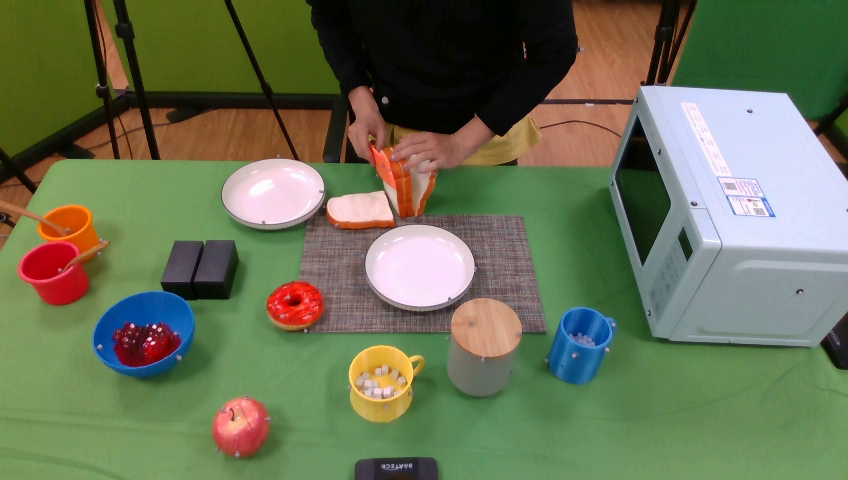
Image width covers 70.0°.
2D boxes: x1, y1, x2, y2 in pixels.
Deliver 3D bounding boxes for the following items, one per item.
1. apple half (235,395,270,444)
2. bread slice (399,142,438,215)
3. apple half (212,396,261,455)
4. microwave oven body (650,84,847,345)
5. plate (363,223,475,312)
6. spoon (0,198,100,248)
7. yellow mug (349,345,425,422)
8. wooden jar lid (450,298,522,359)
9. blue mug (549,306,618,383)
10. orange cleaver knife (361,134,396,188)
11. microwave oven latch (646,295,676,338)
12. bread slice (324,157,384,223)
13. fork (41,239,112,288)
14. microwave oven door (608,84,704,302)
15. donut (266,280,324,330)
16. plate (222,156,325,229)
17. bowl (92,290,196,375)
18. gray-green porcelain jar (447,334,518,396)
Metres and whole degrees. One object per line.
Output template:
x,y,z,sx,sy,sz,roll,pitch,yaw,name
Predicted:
-0.245,0.260,0.893,0.033,0.082,0.081,-29,55,-22,apple half
-0.009,-0.132,1.249,0.019,0.132,0.104,-1,43,-30,bread slice
-0.276,0.276,0.877,0.053,0.075,0.080,-29,58,-21,apple half
0.569,-0.054,1.116,0.326,0.261,0.439,2,46,-1,microwave oven body
-0.009,0.054,1.126,0.208,0.039,0.206,2,46,-2,plate
-0.684,-0.035,1.092,0.021,0.195,0.041,-34,41,26,spoon
-0.054,0.217,0.954,0.131,0.064,0.099,-23,52,-25,yellow mug
0.093,0.135,0.914,0.108,0.021,0.107,2,48,-3,wooden jar lid
0.269,0.167,0.997,0.116,0.106,0.082,-19,50,-21,blue mug
-0.094,-0.166,1.251,0.012,0.077,0.210,-21,30,-11,orange cleaver knife
0.413,0.133,1.060,0.030,0.029,0.078,4,46,1,microwave oven latch
-0.144,-0.096,1.206,0.134,0.018,0.106,-33,49,20,bread slice
-0.591,0.040,1.028,0.207,0.019,0.028,-27,37,29,fork
0.424,-0.096,1.138,0.039,0.245,0.353,3,46,-1,microwave oven door
-0.223,0.112,1.051,0.099,0.048,0.098,2,46,-2,donut
-0.308,-0.095,1.251,0.209,0.038,0.208,2,46,-2,plate
-0.436,0.161,0.971,0.151,0.077,0.150,2,46,-2,bowl
0.091,0.178,0.960,0.106,0.127,0.105,2,46,-2,gray-green porcelain jar
